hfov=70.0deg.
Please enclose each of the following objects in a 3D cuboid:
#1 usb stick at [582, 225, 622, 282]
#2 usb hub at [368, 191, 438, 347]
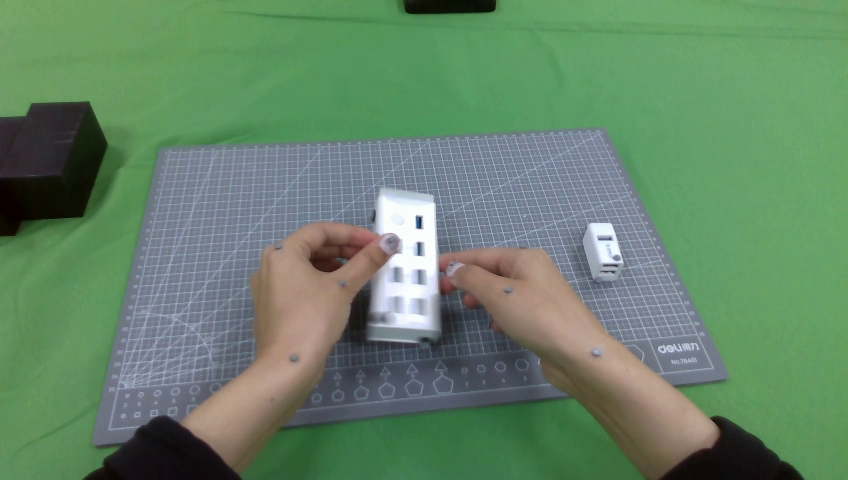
[{"bbox_3d":[0.150,0.006,0.516,0.021,0.027,0.058,-1,46,-2],"label":"usb stick"},{"bbox_3d":[-0.016,0.019,0.468,0.049,0.025,0.124,5,56,-9],"label":"usb hub"}]
